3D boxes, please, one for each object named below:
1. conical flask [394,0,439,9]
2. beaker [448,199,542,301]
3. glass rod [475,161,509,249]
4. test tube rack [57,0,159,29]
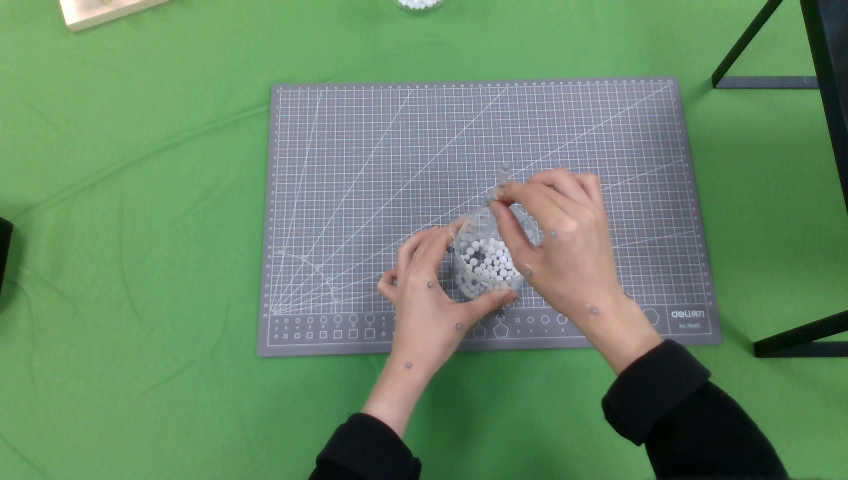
[{"bbox_3d":[-0.010,-0.319,0.656,0.075,0.122,0.075,0,72,0],"label":"conical flask"},{"bbox_3d":[0.059,0.013,0.562,0.084,0.101,0.073,23,73,7],"label":"beaker"},{"bbox_3d":[0.055,-0.024,0.515,0.008,0.200,0.008,0,73,-1],"label":"glass rod"},{"bbox_3d":[-0.306,-0.326,0.675,0.242,0.085,0.066,-22,74,-7],"label":"test tube rack"}]
